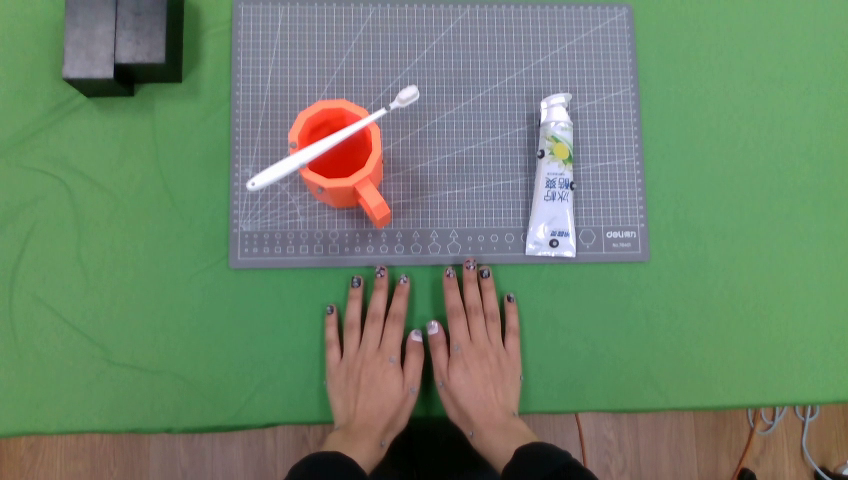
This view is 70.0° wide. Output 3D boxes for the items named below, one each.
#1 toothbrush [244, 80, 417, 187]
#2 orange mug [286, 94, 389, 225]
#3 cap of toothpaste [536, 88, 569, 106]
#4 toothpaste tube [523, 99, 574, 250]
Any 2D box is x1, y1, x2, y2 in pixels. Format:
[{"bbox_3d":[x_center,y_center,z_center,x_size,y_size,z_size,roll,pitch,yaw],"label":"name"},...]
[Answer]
[{"bbox_3d":[-0.084,-0.098,0.553,0.182,0.016,0.014,-32,91,-7],"label":"toothbrush"},{"bbox_3d":[-0.076,-0.073,0.603,0.083,0.101,0.126,-35,82,-7],"label":"orange mug"},{"bbox_3d":[0.140,-0.153,0.657,0.037,0.037,0.011,-10,80,-5],"label":"cap of toothpaste"},{"bbox_3d":[0.136,-0.071,0.653,0.055,0.034,0.165,1,87,4],"label":"toothpaste tube"}]
